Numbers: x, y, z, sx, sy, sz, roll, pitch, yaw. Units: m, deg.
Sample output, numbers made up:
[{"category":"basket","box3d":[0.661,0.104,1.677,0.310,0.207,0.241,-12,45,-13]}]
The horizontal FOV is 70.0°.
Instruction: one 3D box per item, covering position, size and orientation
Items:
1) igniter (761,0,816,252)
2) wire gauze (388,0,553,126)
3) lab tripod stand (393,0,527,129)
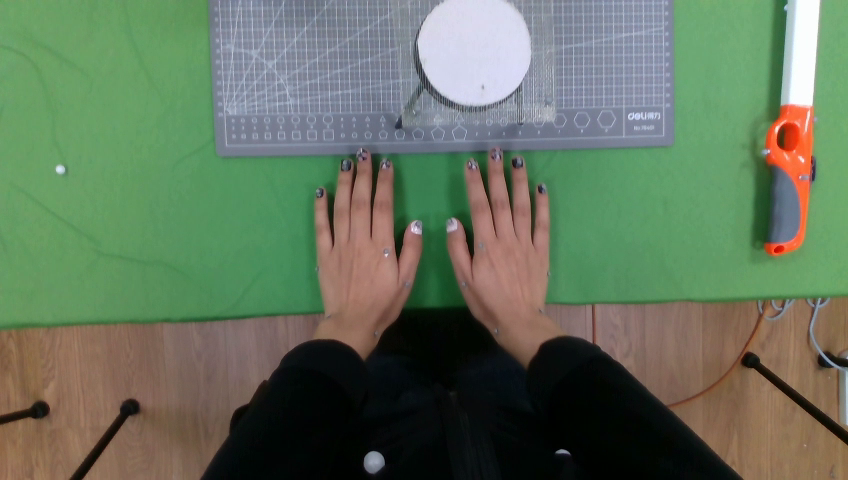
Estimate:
[{"category":"igniter","box3d":[0.364,-0.125,0.601,0.057,0.025,0.276,2,94,-12]},{"category":"wire gauze","box3d":[0.035,-0.150,0.461,0.125,0.011,0.121,-4,92,-3]},{"category":"lab tripod stand","box3d":[0.031,-0.151,0.528,0.148,0.131,0.148,0,92,-1]}]
